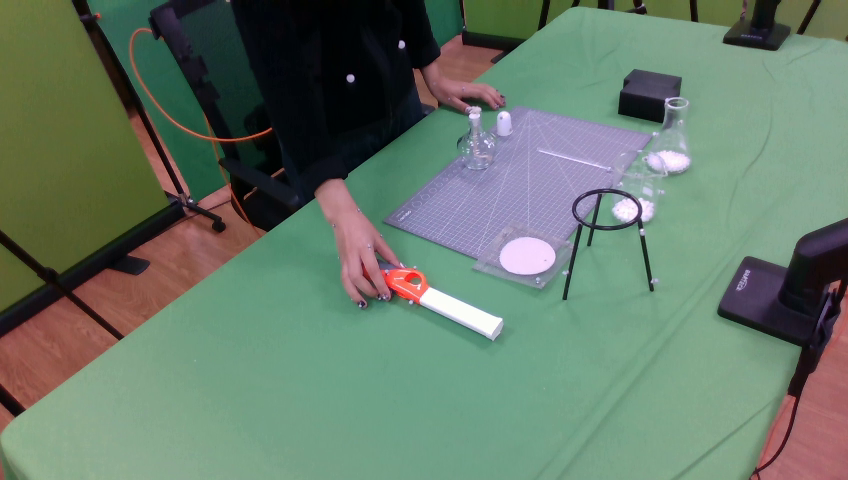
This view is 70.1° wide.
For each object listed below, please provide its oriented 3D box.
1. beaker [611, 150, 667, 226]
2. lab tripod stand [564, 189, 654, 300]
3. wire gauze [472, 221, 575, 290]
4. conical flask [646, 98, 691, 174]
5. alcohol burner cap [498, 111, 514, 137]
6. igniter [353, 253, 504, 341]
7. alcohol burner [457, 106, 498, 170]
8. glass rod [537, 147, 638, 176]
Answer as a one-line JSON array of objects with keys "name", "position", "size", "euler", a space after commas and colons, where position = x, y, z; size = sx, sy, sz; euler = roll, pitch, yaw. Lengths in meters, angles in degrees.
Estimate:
[{"name": "beaker", "position": [0.337, -0.079, 0.953], "size": [0.083, 0.101, 0.074], "euler": [25, 51, 33]}, {"name": "lab tripod stand", "position": [0.251, 0.003, 0.845], "size": [0.148, 0.132, 0.147], "euler": [-7, 39, 6]}, {"name": "wire gauze", "position": [0.157, 0.024, 0.933], "size": [0.120, 0.011, 0.125], "euler": [21, 49, 31]}, {"name": "conical flask", "position": [0.426, -0.180, 1.037], "size": [0.075, 0.122, 0.075], "euler": [-5, 40, 5]}, {"name": "alcohol burner cap", "position": [0.163, -0.235, 1.211], "size": [0.034, 0.048, 0.033], "euler": [-6, 40, 6]}, {"name": "igniter", "position": [-0.005, 0.077, 0.889], "size": [0.274, 0.025, 0.057], "euler": [23, 58, 33]}, {"name": "alcohol burner", "position": [0.097, -0.191, 1.117], "size": [0.078, 0.119, 0.077], "euler": [-7, 39, 6]}, {"name": "glass rod", "position": [0.294, -0.145, 1.104], "size": [0.198, 0.008, 0.008], "euler": [22, 50, 31]}]
